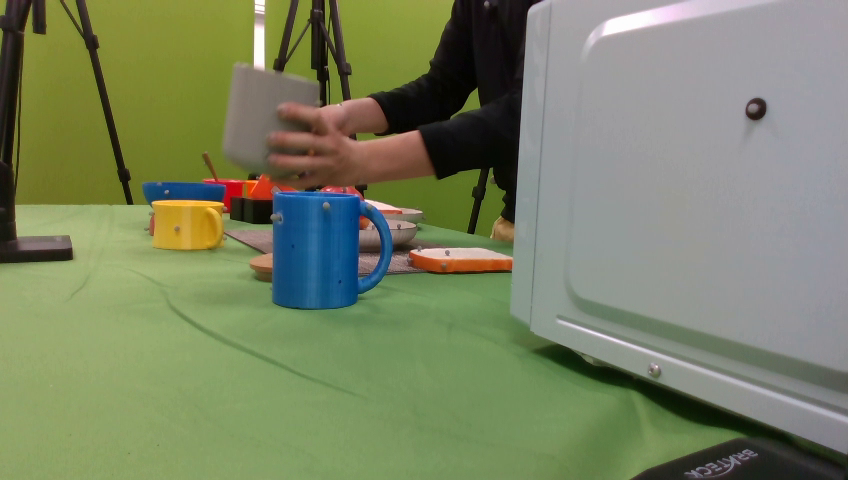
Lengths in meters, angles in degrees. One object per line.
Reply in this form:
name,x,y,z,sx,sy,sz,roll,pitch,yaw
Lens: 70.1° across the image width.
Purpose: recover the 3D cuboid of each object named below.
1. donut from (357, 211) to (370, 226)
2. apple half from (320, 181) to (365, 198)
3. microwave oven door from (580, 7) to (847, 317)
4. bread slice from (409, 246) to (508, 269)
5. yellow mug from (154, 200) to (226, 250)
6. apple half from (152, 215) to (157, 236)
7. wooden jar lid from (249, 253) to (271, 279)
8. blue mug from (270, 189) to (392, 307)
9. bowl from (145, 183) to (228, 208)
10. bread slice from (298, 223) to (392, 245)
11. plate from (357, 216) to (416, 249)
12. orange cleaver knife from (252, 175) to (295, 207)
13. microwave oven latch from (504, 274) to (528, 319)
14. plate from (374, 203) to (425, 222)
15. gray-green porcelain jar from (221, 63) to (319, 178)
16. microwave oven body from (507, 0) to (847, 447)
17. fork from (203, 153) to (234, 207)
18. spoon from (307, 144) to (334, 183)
donut,-0.132,-0.042,0.959,0.099,0.048,0.099,1,7,0
apple half,-0.130,-0.077,0.952,0.081,0.033,0.081,3,14,0
microwave oven door,0.295,-0.067,0.570,0.358,0.243,0.039,-3,9,-31
bread slice,0.047,0.022,0.816,0.132,0.019,0.104,0,7,-24
yellow mug,-0.337,-0.023,0.899,0.130,0.064,0.100,8,9,34
apple half,-0.415,-0.034,1.017,0.081,0.053,0.074,1,10,-9
wooden jar lid,-0.148,0.028,0.708,0.108,0.020,0.108,0,9,0
blue mug,-0.090,0.005,0.588,0.117,0.106,0.082,1,7,-10
bowl,-0.459,-0.069,1.175,0.151,0.077,0.151,2,7,0
bread slice,-0.120,-0.011,0.971,0.106,0.018,0.135,10,12,40
plate,-0.116,-0.014,0.967,0.208,0.039,0.207,2,7,0
orange cleaver knife,-0.283,-0.087,1.343,0.212,0.077,0.012,24,-16,-41
microwave oven latch,0.100,0.041,0.471,0.079,0.029,0.030,-1,7,-28
plate,-0.102,-0.053,1.299,0.209,0.038,0.209,2,8,0
gray-green porcelain jar,-0.197,-0.148,0.766,0.106,0.126,0.106,12,11,-2
microwave oven body,0.331,-0.042,0.425,0.444,0.260,0.324,-2,8,-31
fork,-0.480,-0.134,1.411,0.028,0.018,0.207,1,-35,0
spoon,-0.181,-0.136,0.987,0.021,0.194,0.041,-37,24,4
